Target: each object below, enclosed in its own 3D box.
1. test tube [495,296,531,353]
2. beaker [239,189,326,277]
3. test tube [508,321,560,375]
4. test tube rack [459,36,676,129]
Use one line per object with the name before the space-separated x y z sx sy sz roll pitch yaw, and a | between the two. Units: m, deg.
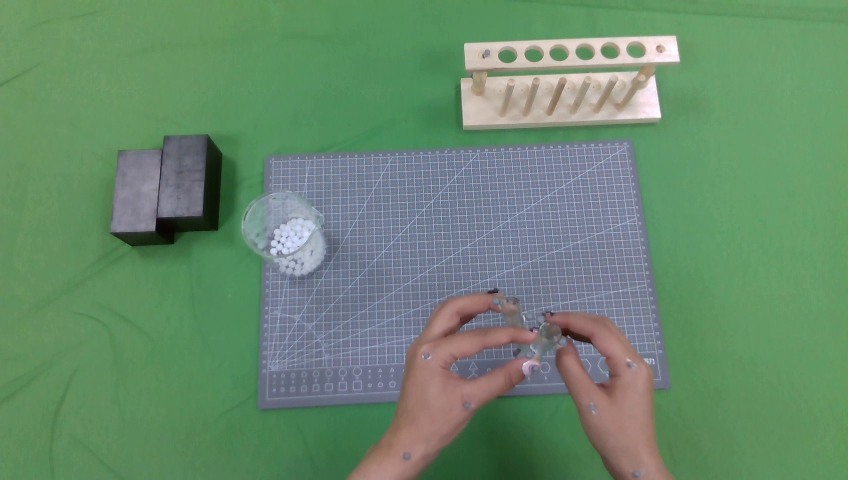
test tube | 0.078 0.075 0.513 0.017 0.152 0.017 -5 68 13
beaker | -0.146 -0.004 0.660 0.084 0.101 0.073 -10 74 -3
test tube | 0.084 0.089 0.482 0.017 0.151 0.017 0 69 -1
test tube rack | 0.165 -0.186 0.723 0.242 0.085 0.066 -2 74 -1
